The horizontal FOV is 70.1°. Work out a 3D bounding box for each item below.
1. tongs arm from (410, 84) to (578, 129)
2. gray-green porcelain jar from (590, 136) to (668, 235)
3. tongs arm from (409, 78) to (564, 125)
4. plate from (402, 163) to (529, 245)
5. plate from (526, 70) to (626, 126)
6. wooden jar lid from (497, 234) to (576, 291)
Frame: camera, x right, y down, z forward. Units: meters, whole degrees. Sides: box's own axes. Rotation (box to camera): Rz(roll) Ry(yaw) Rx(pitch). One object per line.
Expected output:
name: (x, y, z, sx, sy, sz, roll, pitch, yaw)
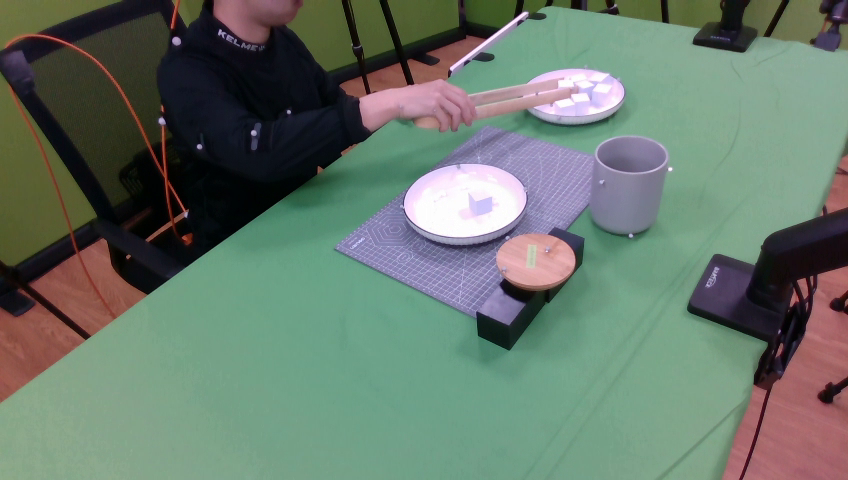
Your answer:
tongs arm: (0.146, -0.263, 1.167, 0.387, 0.026, 0.050, -20, 40, -30)
gray-green porcelain jar: (0.314, -0.080, 0.937, 0.106, 0.127, 0.105, -4, 41, 4)
tongs arm: (0.132, -0.276, 1.186, 0.390, 0.028, 0.028, -18, 43, -28)
plate: (0.069, -0.056, 1.008, 0.209, 0.038, 0.208, -4, 40, 4)
plate: (0.308, -0.290, 1.251, 0.207, 0.039, 0.206, -4, 40, 4)
wooden jar lid: (0.154, 0.032, 0.834, 0.108, 0.021, 0.108, -5, 40, 5)
